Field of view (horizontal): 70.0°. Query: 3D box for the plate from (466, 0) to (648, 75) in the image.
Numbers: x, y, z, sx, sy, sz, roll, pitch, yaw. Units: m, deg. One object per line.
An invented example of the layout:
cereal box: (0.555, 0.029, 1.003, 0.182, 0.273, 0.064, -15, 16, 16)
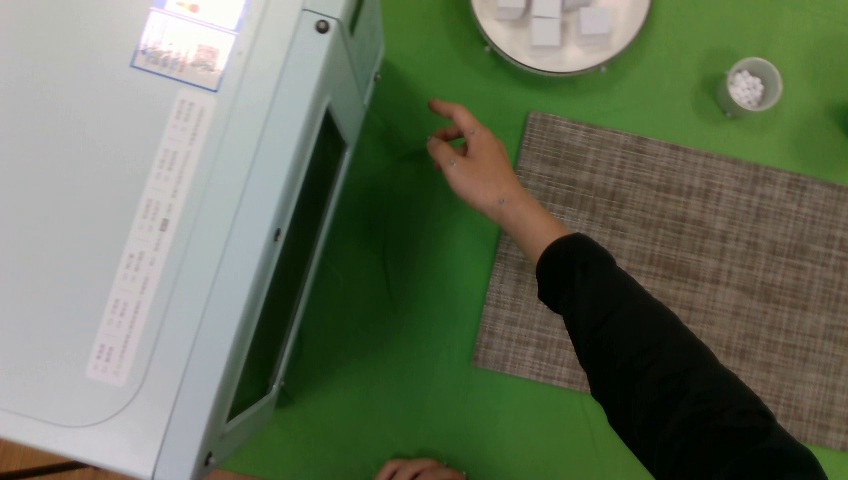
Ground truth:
plate: (0.149, -0.287, 0.693, 0.208, 0.039, 0.207, 0, 87, -1)

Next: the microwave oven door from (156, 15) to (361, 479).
microwave oven door: (-0.133, 0.011, 0.550, 0.039, 0.244, 0.355, 16, 86, 0)

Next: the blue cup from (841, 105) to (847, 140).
blue cup: (0.519, -0.139, 0.663, 0.093, 0.100, 0.092, 0, 88, -1)

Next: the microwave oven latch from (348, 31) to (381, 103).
microwave oven latch: (-0.071, -0.193, 0.664, 0.030, 0.029, 0.079, 20, 87, -1)

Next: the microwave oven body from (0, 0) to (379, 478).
microwave oven body: (-0.261, -0.071, 0.557, 0.326, 0.260, 0.441, 16, 87, -1)

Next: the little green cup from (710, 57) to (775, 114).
little green cup: (0.361, -0.174, 0.692, 0.061, 0.038, 0.061, 0, 86, -1)
